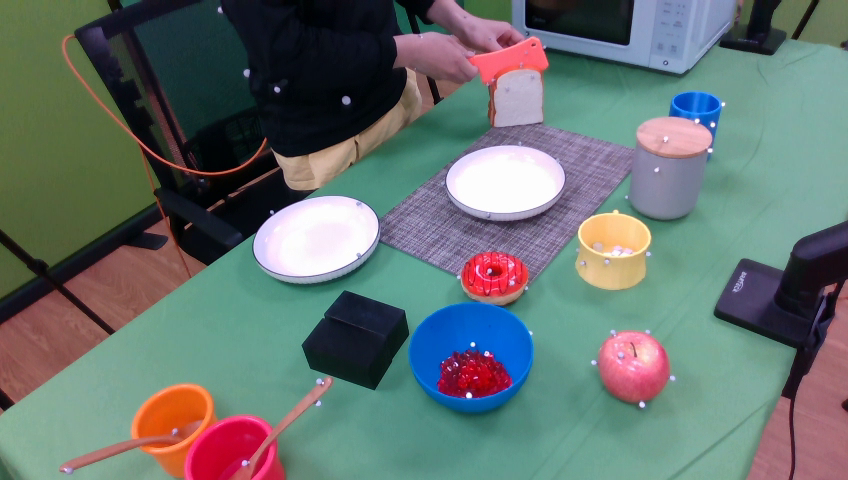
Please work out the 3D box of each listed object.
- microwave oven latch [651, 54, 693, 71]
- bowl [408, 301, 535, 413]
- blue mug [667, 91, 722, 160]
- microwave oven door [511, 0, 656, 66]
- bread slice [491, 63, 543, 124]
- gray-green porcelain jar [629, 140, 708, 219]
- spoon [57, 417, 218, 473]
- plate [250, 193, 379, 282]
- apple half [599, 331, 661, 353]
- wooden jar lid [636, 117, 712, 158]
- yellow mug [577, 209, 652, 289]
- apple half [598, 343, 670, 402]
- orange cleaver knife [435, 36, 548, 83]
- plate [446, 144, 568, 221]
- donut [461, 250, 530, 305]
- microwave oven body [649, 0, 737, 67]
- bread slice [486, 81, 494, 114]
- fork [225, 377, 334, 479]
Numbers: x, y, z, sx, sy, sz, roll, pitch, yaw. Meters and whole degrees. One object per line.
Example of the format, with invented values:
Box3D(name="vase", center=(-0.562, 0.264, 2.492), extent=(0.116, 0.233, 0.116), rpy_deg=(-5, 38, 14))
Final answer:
Box3D(name="microwave oven latch", center=(0.532, -0.386, 1.301), extent=(0.078, 0.029, 0.030), rpy_deg=(26, 52, 34))
Box3D(name="bowl", center=(0.060, 0.156, 0.739), extent=(0.151, 0.077, 0.150), rpy_deg=(-4, 40, 4))
Box3D(name="blue mug", center=(0.474, -0.207, 1.079), extent=(0.082, 0.106, 0.116), rpy_deg=(4, 42, 13))
Box3D(name="microwave oven door", center=(0.351, -0.540, 1.349), extent=(0.353, 0.245, 0.039), rpy_deg=(24, 50, 31))
Box3D(name="bread slice", center=(0.183, -0.286, 1.190), extent=(0.105, 0.132, 0.019), rpy_deg=(-7, 48, 3))
Box3D(name="gray-green porcelain jar", center=(0.383, -0.105, 0.958), extent=(0.106, 0.127, 0.105), rpy_deg=(-4, 41, 4))
Box3D(name="spoon", center=(-0.304, 0.221, 0.661), extent=(0.041, 0.195, 0.021), rpy_deg=(19, 93, 27))
Box3D(name="plate", center=(-0.174, -0.001, 0.984), extent=(0.209, 0.038, 0.208), rpy_deg=(-4, 40, 4))
Box3D(name="apple half", center=(0.249, 0.134, 0.738), extent=(0.081, 0.081, 0.032), rpy_deg=(-2, 46, 7))
Box3D(name="wooden jar lid", center=(0.377, -0.151, 0.917), extent=(0.108, 0.021, 0.108), rpy_deg=(-2, 41, 3))
Box3D(name="yellow mug", center=(0.279, 0.004, 0.893), extent=(0.099, 0.064, 0.130), rpy_deg=(5, 41, 15))
Box3D(name="apple half", center=(0.247, 0.161, 0.710), extent=(0.081, 0.075, 0.053), rpy_deg=(2, 47, 5))
Box3D(name="orange cleaver knife", center=(0.129, -0.337, 1.154), extent=(0.211, 0.077, 0.012), rpy_deg=(-9, 45, 7))
Box3D(name="plate", center=(0.142, -0.097, 1.045), extent=(0.207, 0.039, 0.206), rpy_deg=(-4, 40, 4))
Box3D(name="donut", center=(0.103, 0.053, 0.872), extent=(0.099, 0.048, 0.098), rpy_deg=(-5, 40, 4))
Box3D(name="microwave oven body", center=(0.475, -0.602, 1.411), extent=(0.438, 0.261, 0.327), rpy_deg=(23, 50, 32))
Box3D(name="bread slice", center=(0.182, -0.318, 1.231), extent=(0.107, 0.135, 0.018), rpy_deg=(-4, 44, -1))
Box3D(name="fork", center=(-0.163, 0.216, 0.646), extent=(0.207, 0.019, 0.028), rpy_deg=(-49, 42, 16))
